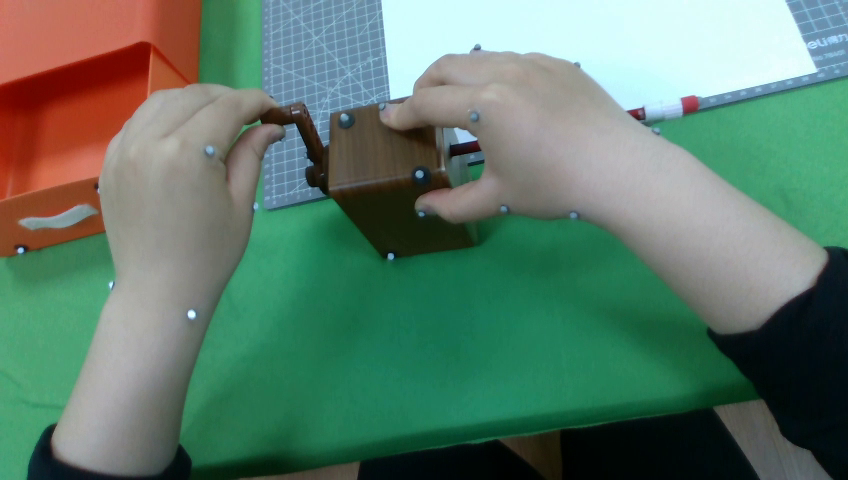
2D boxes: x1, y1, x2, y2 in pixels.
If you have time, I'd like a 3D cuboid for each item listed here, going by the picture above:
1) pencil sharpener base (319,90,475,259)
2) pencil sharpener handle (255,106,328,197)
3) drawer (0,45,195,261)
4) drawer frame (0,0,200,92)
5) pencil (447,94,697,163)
[{"bbox_3d":[-0.014,-0.036,0.395,0.076,0.108,0.061,-9,64,12],"label":"pencil sharpener base"},{"bbox_3d":[-0.075,-0.051,0.370,0.030,0.068,0.035,-9,42,12],"label":"pencil sharpener handle"},{"bbox_3d":[-0.299,-0.104,0.519,0.194,0.074,0.210,-14,64,10],"label":"drawer"},{"bbox_3d":[-0.316,-0.210,0.565,0.201,0.083,0.211,-13,64,10],"label":"drawer frame"},{"bbox_3d":[0.057,-0.058,0.352,0.194,0.012,0.012,-11,65,10],"label":"pencil"}]
